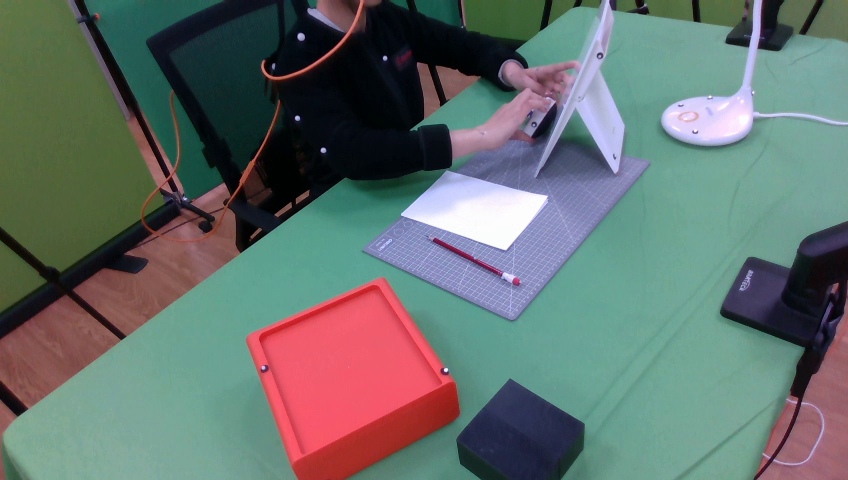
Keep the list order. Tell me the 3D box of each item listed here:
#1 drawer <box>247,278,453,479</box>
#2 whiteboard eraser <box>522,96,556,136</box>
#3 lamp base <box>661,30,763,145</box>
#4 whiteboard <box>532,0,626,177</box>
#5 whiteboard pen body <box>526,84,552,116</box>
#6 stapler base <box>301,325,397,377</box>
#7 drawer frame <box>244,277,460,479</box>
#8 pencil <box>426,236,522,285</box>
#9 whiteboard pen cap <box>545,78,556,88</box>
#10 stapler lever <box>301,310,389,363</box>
[{"bbox_3d":[-0.096,0.167,0.758,0.195,0.073,0.210,-22,43,-16],"label":"drawer"},{"bbox_3d":[0.224,-0.236,1.157,0.042,0.055,0.113,32,31,4],"label":"whiteboard eraser"},{"bbox_3d":[0.535,-0.287,1.096,0.179,0.181,0.159,-10,40,-4],"label":"lamp base"},{"bbox_3d":[0.321,-0.258,1.050,0.144,0.306,0.217,21,45,5],"label":"whiteboard"},{"bbox_3d":[0.251,-0.305,1.298,0.017,0.017,0.141,15,46,26],"label":"whiteboard pen body"},{"bbox_3d":[-0.102,0.143,0.815,0.131,0.024,0.041,-18,42,-13],"label":"stapler base"},{"bbox_3d":[-0.093,0.167,0.755,0.202,0.083,0.211,-23,43,-17],"label":"drawer frame"},{"bbox_3d":[0.072,0.028,0.941,0.192,0.012,0.012,26,52,37],"label":"pencil"},{"bbox_3d":[0.280,-0.344,1.335,0.018,0.018,0.033,15,45,25],"label":"whiteboard pen cap"},{"bbox_3d":[-0.104,0.126,0.798,0.118,0.040,0.026,-17,42,-15],"label":"stapler lever"}]
